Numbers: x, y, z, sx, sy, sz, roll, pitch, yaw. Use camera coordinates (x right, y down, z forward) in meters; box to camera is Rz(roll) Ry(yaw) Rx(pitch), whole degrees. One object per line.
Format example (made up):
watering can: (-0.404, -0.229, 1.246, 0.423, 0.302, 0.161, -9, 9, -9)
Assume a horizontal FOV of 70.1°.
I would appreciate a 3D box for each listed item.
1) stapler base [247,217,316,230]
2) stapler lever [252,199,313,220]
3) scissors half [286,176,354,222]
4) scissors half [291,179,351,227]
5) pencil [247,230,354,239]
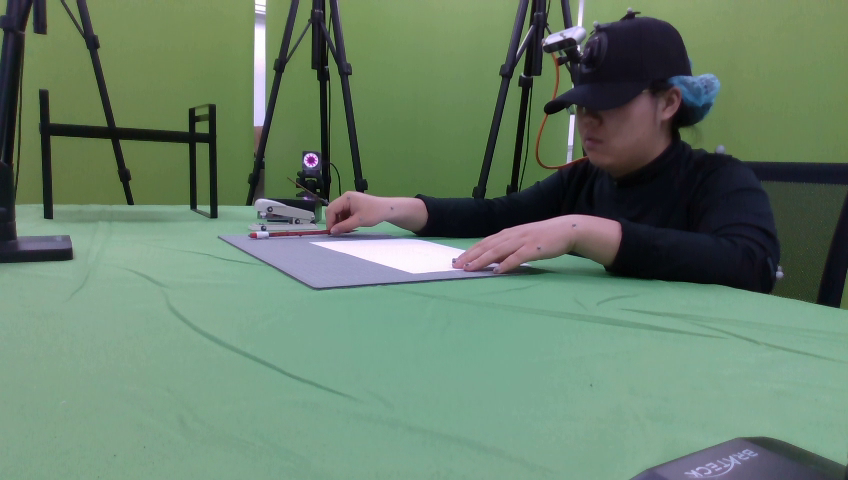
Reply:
stapler base: (-0.276, -0.033, 1.172, 0.131, 0.024, 0.041, 0, 10, -37)
stapler lever: (-0.273, -0.058, 1.170, 0.119, 0.040, 0.026, 0, 10, -37)
scissors half: (-0.229, -0.091, 1.337, 0.175, 0.013, 0.040, 33, 15, -13)
scissors half: (-0.232, -0.085, 1.317, 0.175, 0.013, 0.040, 38, 20, 4)
pencil: (-0.206, -0.011, 1.040, 0.195, 0.012, 0.012, -3, 9, -34)
